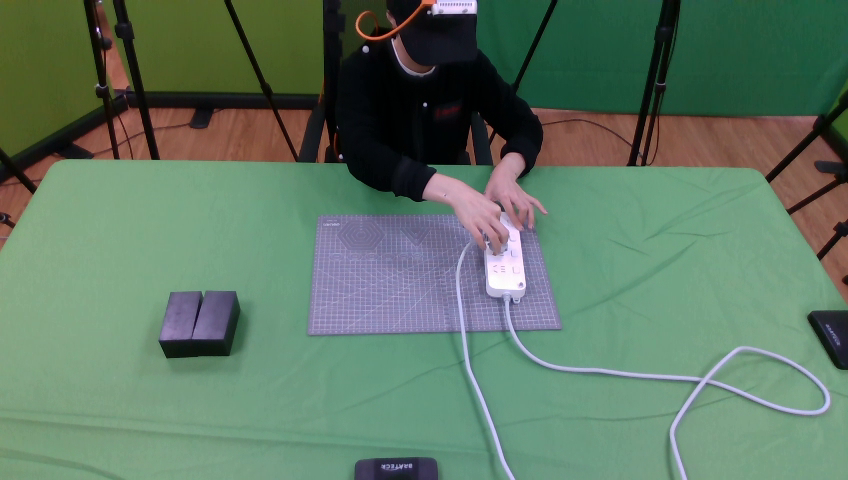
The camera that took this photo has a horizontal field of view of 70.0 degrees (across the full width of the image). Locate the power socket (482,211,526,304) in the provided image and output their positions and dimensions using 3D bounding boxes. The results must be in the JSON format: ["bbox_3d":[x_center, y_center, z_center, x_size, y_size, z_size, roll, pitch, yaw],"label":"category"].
[{"bbox_3d":[0.153,0.025,1.174,0.072,0.033,0.225,2,46,0],"label":"power socket"}]

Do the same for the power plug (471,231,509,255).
[{"bbox_3d":[0.125,0.006,1.148,0.072,0.053,0.035,9,37,10],"label":"power plug"}]
